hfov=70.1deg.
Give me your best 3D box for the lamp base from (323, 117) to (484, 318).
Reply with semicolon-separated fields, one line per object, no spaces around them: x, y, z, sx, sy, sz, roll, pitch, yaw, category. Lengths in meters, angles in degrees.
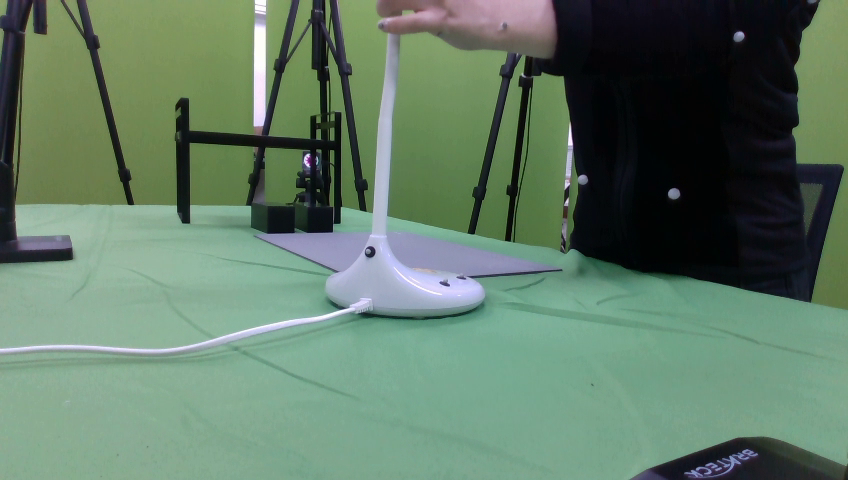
-0.020;-0.025;0.583;0.160;0.180;0.179;5;10;17;lamp base
